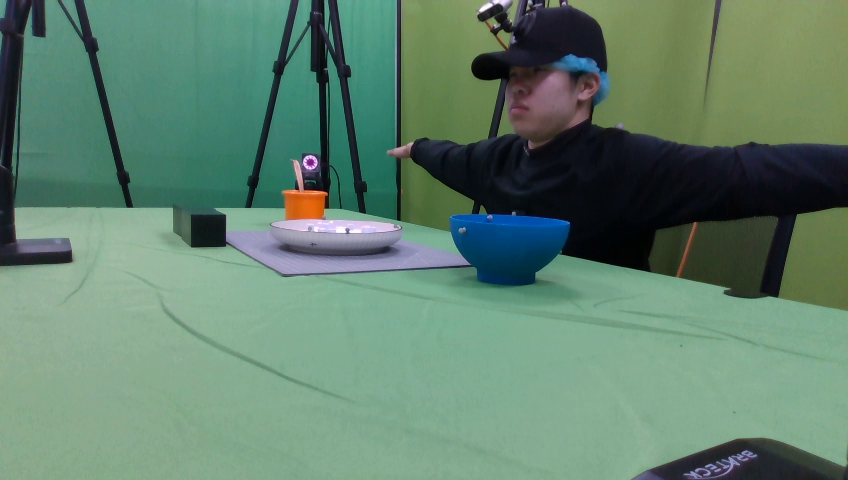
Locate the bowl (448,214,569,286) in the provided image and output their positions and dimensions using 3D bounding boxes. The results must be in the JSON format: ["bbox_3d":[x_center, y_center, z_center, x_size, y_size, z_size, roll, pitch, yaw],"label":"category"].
[{"bbox_3d":[0.102,0.012,0.758,0.151,0.077,0.151,3,7,0],"label":"bowl"}]

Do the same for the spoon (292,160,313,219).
[{"bbox_3d":[-0.259,-0.103,1.268,0.042,0.193,0.021,3,-38,-23],"label":"spoon"}]

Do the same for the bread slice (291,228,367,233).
[{"bbox_3d":[-0.143,-0.003,0.953,0.135,0.018,0.106,-1,9,-37],"label":"bread slice"}]

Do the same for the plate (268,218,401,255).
[{"bbox_3d":[-0.140,-0.006,0.958,0.209,0.038,0.209,3,7,0],"label":"plate"}]
